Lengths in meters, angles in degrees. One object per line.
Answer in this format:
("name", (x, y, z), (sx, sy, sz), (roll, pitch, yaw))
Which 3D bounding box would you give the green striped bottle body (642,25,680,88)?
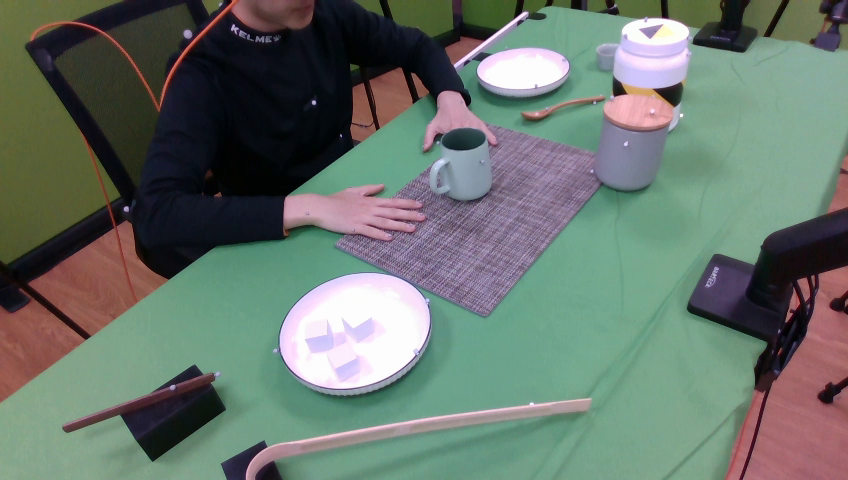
("green striped bottle body", (0.499, -0.387, 1.271), (0.063, 0.120, 0.063), (-4, 41, 4))

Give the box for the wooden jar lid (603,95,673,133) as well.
("wooden jar lid", (0.343, -0.200, 0.974), (0.108, 0.021, 0.108), (-2, 39, 2))

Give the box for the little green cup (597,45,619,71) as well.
("little green cup", (0.423, -0.413, 1.376), (0.061, 0.039, 0.061), (-4, 41, 4))

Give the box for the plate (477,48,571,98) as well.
("plate", (0.223, -0.371, 1.357), (0.209, 0.038, 0.208), (-4, 41, 4))

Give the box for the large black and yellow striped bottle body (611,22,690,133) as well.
("large black and yellow striped bottle body", (0.420, -0.300, 1.132), (0.131, 0.185, 0.130), (-4, 41, 4))

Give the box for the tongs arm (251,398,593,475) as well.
("tongs arm", (0.008, 0.212, 0.675), (0.389, 0.028, 0.028), (-5, 46, -11))

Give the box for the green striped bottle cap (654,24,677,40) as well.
("green striped bottle cap", (0.494, -0.426, 1.237), (0.044, 0.020, 0.044), (-5, 41, 5))

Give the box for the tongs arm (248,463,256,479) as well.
("tongs arm", (0.012, 0.262, 0.615), (0.385, 0.026, 0.050), (2, 41, -2))

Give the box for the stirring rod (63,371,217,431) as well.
("stirring rod", (-0.337, 0.192, 0.723), (0.177, 0.014, 0.005), (-18, 43, -12))

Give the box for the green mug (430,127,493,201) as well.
("green mug", (0.059, -0.122, 1.034), (0.126, 0.105, 0.091), (-35, 48, -28))

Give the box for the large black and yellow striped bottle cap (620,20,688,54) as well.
("large black and yellow striped bottle cap", (0.411, -0.363, 1.080), (0.115, 0.019, 0.114), (-3, 42, 4))

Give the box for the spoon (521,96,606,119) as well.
("spoon", (0.291, -0.277, 1.249), (0.194, 0.022, 0.041), (-18, 24, -11))

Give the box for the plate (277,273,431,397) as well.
("plate", (-0.092, 0.129, 0.821), (0.207, 0.039, 0.206), (-4, 40, 4))

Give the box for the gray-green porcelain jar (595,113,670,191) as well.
("gray-green porcelain jar", (0.346, -0.155, 1.017), (0.106, 0.127, 0.105), (-2, 44, 2))
